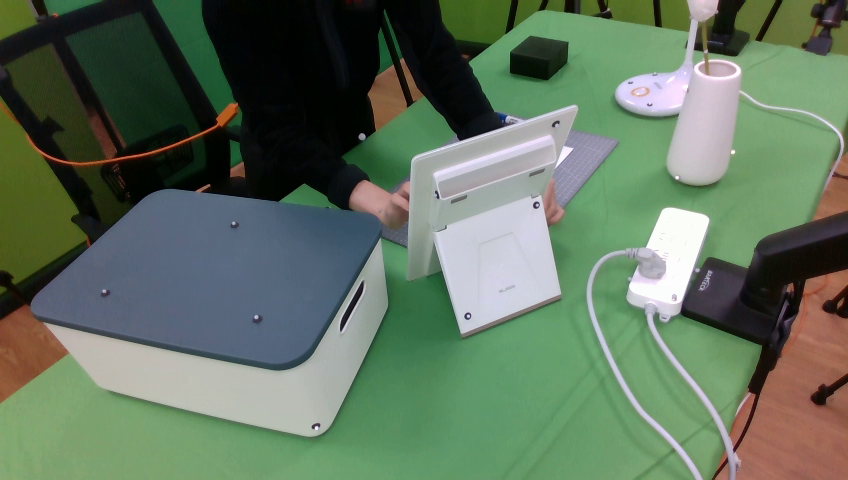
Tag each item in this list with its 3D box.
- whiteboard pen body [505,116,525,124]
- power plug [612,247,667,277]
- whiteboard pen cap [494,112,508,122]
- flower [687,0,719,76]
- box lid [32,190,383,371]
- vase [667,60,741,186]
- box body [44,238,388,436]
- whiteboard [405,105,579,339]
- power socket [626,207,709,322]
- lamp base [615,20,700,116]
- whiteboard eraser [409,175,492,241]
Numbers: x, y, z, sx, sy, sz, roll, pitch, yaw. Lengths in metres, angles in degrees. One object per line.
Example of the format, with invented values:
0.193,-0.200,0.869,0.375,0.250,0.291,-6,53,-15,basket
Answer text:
0.203,-0.232,1.213,0.139,0.017,0.017,27,51,36,whiteboard pen body
0.306,0.031,0.852,0.072,0.053,0.035,21,48,37,power plug
0.161,-0.253,1.248,0.033,0.018,0.018,29,52,36,whiteboard pen cap
0.436,-0.242,0.934,0.038,0.364,0.043,-24,49,8,flower
-0.257,0.032,0.750,0.370,0.015,0.263,7,41,16,box lid
0.463,-0.189,0.994,0.098,0.201,0.097,-4,40,3,vase
-0.251,0.088,0.799,0.362,0.161,0.254,7,42,16,box body
0.103,0.003,0.786,0.218,0.306,0.143,-19,62,-14,whiteboard
0.360,0.026,0.886,0.072,0.033,0.227,17,46,27,power socket
0.484,-0.364,1.211,0.180,0.181,0.159,-15,41,-14,lamp base
0.038,-0.040,0.840,0.112,0.056,0.041,-35,63,19,whiteboard eraser
